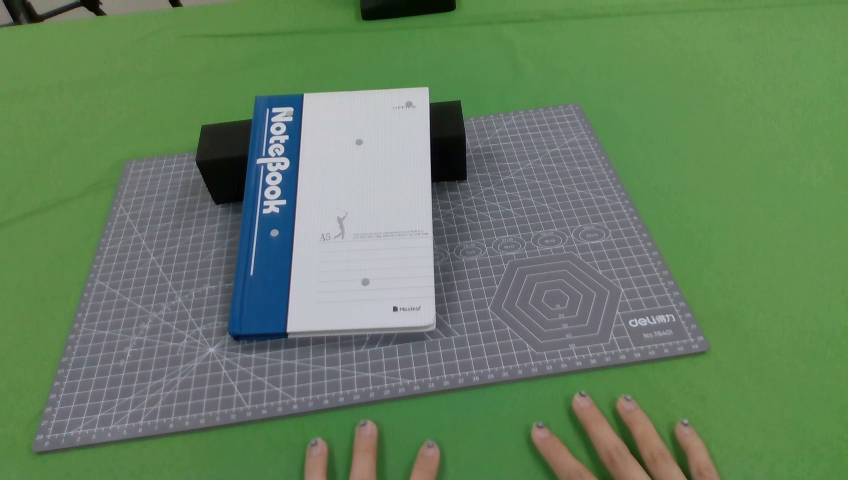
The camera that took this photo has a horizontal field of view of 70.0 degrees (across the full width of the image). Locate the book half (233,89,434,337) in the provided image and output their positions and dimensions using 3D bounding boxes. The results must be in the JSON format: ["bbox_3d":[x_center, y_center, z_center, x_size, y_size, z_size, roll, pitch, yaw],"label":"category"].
[{"bbox_3d":[-0.066,-0.029,0.468,0.143,0.007,0.208,-3,65,2],"label":"book half"}]
